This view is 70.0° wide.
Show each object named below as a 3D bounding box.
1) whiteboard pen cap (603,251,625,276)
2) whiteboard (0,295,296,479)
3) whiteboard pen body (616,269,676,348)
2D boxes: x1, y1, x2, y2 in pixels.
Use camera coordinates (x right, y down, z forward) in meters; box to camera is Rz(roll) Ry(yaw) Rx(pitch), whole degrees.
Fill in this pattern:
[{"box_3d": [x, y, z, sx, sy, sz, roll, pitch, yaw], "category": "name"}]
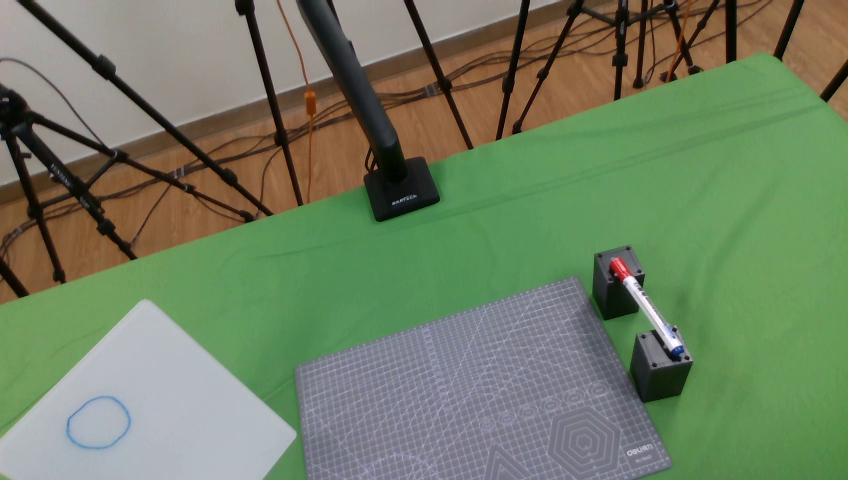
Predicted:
[{"box_3d": [0.249, 0.031, 0.791, 0.017, 0.017, 0.032, -22, 54, -4], "category": "whiteboard pen cap"}, {"box_3d": [-0.354, 0.229, 0.764, 0.142, 0.309, 0.216, 14, 57, 45], "category": "whiteboard"}, {"box_3d": [0.269, 0.074, 0.756, 0.017, 0.017, 0.139, -22, 53, -4], "category": "whiteboard pen body"}]
